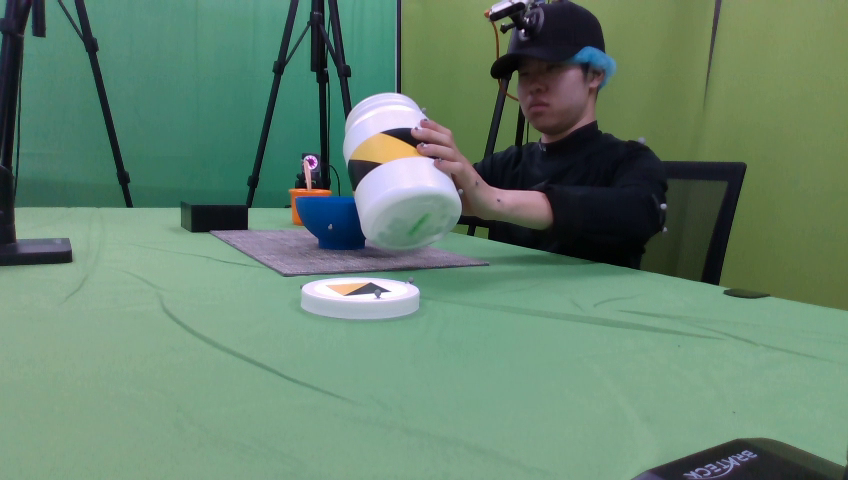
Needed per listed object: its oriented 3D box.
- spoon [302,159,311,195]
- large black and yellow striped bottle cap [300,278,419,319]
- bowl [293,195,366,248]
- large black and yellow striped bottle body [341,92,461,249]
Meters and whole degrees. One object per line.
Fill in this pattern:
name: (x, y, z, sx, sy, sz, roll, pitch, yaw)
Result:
spoon: (-0.257, -0.113, 1.341, 0.042, 0.193, 0.021, 3, -38, -18)
large black and yellow striped bottle cap: (-0.062, 0.055, 0.588, 0.115, 0.019, 0.115, 1, 6, 0)
bowl: (-0.132, -0.030, 0.962, 0.151, 0.077, 0.151, 2, 7, 0)
large black and yellow striped bottle body: (-0.037, -0.095, 0.803, 0.131, 0.183, 0.131, -13, -33, -8)
